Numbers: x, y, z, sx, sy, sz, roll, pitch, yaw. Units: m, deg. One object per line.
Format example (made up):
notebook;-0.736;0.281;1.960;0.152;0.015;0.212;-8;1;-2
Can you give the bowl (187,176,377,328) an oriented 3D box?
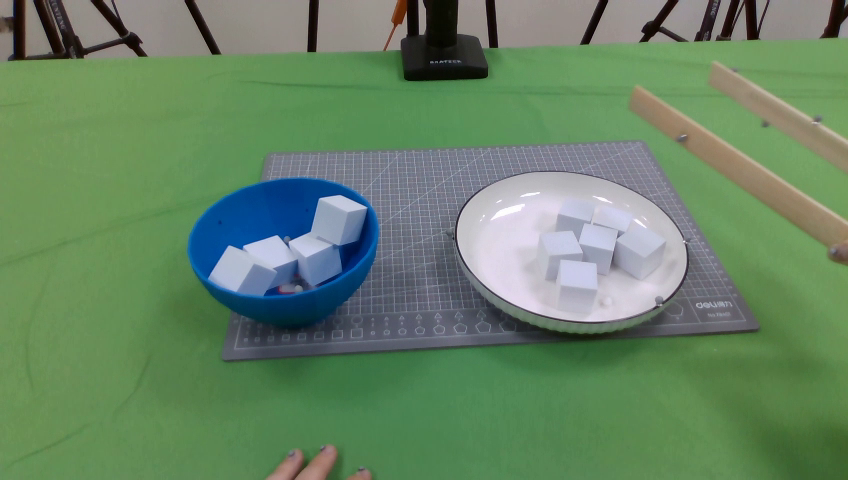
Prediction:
bowl;-0.112;0.021;0.511;0.151;0.077;0.150;1;41;0

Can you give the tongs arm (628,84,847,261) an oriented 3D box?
tongs arm;0.289;-0.016;0.436;0.028;0.028;0.383;-20;48;-25

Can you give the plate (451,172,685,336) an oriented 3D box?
plate;0.128;0.011;0.557;0.208;0.039;0.205;1;42;0

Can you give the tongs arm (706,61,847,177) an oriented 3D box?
tongs arm;0.337;-0.034;0.453;0.051;0.027;0.380;-18;48;-19
